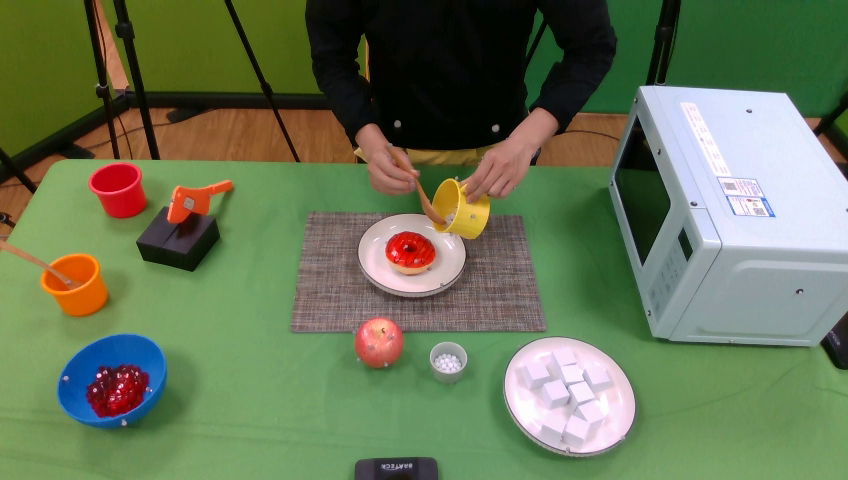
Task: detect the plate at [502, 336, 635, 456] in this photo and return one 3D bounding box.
[{"bbox_3d":[0.225,0.248,0.963,0.208,0.039,0.206,2,46,-2],"label":"plate"}]

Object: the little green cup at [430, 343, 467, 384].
[{"bbox_3d":[0.039,0.203,0.993,0.061,0.039,0.061,2,46,-2],"label":"little green cup"}]

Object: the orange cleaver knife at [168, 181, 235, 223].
[{"bbox_3d":[-0.436,-0.078,1.196,0.012,0.077,0.211,16,15,10],"label":"orange cleaver knife"}]

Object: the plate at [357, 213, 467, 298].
[{"bbox_3d":[-0.023,0.032,1.150,0.209,0.038,0.208,2,46,-2],"label":"plate"}]

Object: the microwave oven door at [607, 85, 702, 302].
[{"bbox_3d":[0.423,-0.094,1.140,0.039,0.245,0.353,2,46,-1],"label":"microwave oven door"}]

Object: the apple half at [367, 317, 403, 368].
[{"bbox_3d":[-0.061,0.167,0.998,0.053,0.075,0.080,-11,44,-20],"label":"apple half"}]

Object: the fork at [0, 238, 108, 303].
[{"bbox_3d":[-0.633,0.048,1.017,0.208,0.018,0.028,40,41,-27],"label":"fork"}]

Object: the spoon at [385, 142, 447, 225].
[{"bbox_3d":[-0.013,-0.093,1.035,0.021,0.195,0.041,-44,34,-17],"label":"spoon"}]

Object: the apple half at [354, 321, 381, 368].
[{"bbox_3d":[-0.097,0.176,0.985,0.033,0.081,0.080,-12,48,-20],"label":"apple half"}]

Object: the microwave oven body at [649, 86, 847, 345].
[{"bbox_3d":[0.568,-0.053,1.118,0.326,0.261,0.439,2,45,-1],"label":"microwave oven body"}]

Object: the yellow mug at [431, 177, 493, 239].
[{"bbox_3d":[0.072,-0.065,1.077,0.064,0.131,0.099,12,50,-28],"label":"yellow mug"}]

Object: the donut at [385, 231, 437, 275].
[{"bbox_3d":[-0.025,0.024,1.141,0.099,0.048,0.098,3,44,-3],"label":"donut"}]

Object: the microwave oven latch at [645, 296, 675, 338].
[{"bbox_3d":[0.412,0.134,1.061,0.030,0.029,0.078,3,45,0],"label":"microwave oven latch"}]

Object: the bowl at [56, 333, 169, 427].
[{"bbox_3d":[-0.456,0.223,0.911,0.151,0.077,0.150,3,46,-2],"label":"bowl"}]
